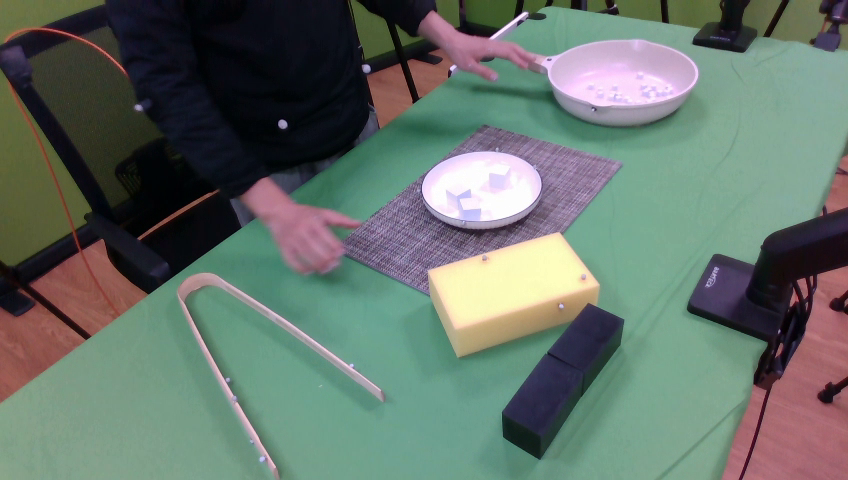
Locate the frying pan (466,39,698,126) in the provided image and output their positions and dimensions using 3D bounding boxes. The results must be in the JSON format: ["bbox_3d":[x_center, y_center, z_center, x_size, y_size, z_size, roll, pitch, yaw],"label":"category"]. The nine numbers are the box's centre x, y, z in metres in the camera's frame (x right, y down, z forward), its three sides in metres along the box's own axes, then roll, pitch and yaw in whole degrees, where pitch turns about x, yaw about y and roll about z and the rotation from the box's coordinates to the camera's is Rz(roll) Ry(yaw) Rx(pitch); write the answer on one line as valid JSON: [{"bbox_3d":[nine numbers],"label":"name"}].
[{"bbox_3d":[0.312,-0.359,1.277,0.485,0.103,0.307,23,47,19],"label":"frying pan"}]

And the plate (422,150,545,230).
[{"bbox_3d":[0.101,-0.082,1.031,0.207,0.039,0.206,-4,40,4],"label":"plate"}]

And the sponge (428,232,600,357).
[{"bbox_3d":[0.120,0.071,0.834,0.207,0.061,0.117,-15,43,-12],"label":"sponge"}]

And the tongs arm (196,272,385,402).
[{"bbox_3d":[-0.198,0.125,0.847,0.384,0.028,0.028,25,53,32],"label":"tongs arm"}]

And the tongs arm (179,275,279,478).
[{"bbox_3d":[-0.260,0.161,0.807,0.051,0.026,0.381,-29,44,-24],"label":"tongs arm"}]
